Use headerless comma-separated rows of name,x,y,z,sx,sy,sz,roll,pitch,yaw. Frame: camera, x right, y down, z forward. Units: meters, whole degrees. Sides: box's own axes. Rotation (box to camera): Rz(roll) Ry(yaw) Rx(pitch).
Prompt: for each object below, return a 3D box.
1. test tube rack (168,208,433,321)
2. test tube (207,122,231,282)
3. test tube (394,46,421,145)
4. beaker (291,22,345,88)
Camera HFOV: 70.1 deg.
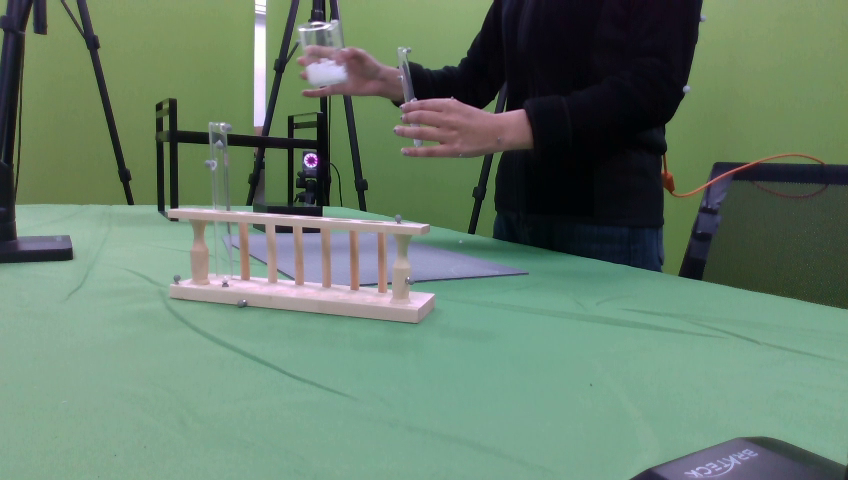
test tube rack,-0.116,0.017,0.574,0.242,0.085,0.067,4,8,13
test tube,-0.191,-0.034,0.565,0.017,0.150,0.017,1,11,0
test tube,-0.024,-0.212,0.891,0.017,0.150,0.017,-10,-4,0
beaker,-0.177,-0.317,1.038,0.074,0.100,0.083,-19,17,-32
